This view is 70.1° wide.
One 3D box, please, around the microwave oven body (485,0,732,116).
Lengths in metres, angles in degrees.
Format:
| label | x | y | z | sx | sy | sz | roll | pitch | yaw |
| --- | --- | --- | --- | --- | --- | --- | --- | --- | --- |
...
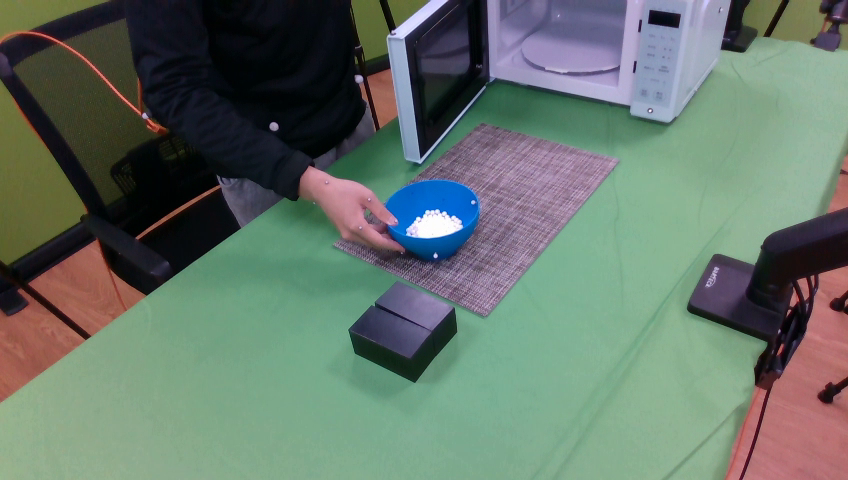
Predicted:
| label | x | y | z | sx | sy | sz | roll | pitch | yaw |
| --- | --- | --- | --- | --- | --- | --- | --- | --- | --- |
| microwave oven body | 0.377 | -0.462 | 1.267 | 0.438 | 0.261 | 0.327 | 21 | 49 | 30 |

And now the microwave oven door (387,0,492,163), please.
| label | x | y | z | sx | sy | sz | roll | pitch | yaw |
| --- | --- | --- | --- | --- | --- | --- | --- | --- | --- |
| microwave oven door | 0.044 | -0.346 | 1.171 | 0.039 | 0.245 | 0.356 | 14 | 45 | 24 |

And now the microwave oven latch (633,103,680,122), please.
| label | x | y | z | sx | sy | sz | roll | pitch | yaw |
| --- | --- | --- | --- | --- | --- | --- | --- | --- | --- |
| microwave oven latch | 0.443 | -0.249 | 1.157 | 0.078 | 0.029 | 0.030 | 20 | 48 | 30 |

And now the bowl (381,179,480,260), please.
| label | x | y | z | sx | sy | sz | roll | pitch | yaw |
| --- | --- | --- | --- | --- | --- | --- | --- | --- | --- |
| bowl | 0.014 | -0.021 | 0.942 | 0.151 | 0.077 | 0.150 | -4 | 40 | 4 |
